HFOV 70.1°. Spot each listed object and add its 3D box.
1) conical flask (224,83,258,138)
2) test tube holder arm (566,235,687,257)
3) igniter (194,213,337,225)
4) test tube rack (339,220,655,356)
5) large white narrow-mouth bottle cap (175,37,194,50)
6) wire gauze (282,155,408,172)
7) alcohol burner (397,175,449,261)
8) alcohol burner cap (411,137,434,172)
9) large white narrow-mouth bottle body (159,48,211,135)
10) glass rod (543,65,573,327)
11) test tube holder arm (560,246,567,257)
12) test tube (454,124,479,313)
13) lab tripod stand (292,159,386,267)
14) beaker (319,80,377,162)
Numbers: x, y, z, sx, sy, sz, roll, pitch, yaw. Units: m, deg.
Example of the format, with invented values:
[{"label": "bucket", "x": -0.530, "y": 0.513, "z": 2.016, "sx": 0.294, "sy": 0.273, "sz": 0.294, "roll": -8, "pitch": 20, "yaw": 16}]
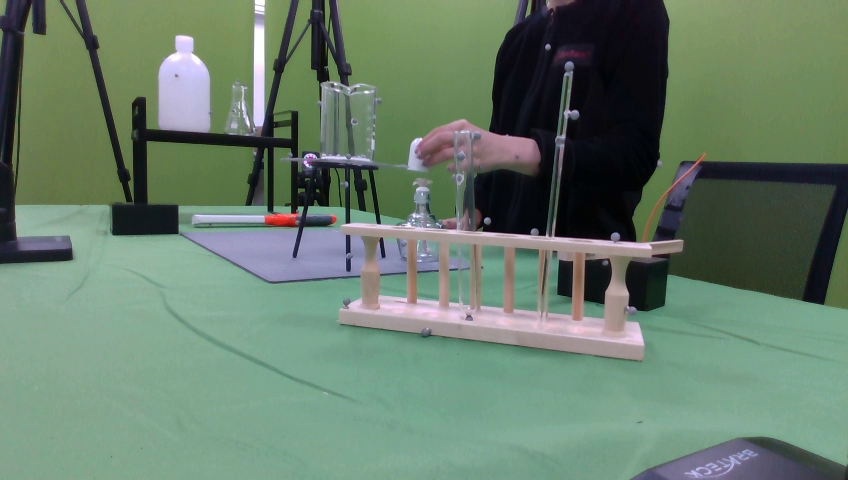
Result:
[{"label": "conical flask", "x": -0.422, "y": -0.299, "z": 1.395, "sx": 0.075, "sy": 0.122, "sz": 0.075, "roll": 2, "pitch": 7, "yaw": 0}, {"label": "test tube holder arm", "x": 0.215, "y": 0.006, "z": 0.630, "sx": 0.179, "sy": 0.015, "sz": 0.013, "roll": -3, "pitch": 8, "yaw": -31}, {"label": "igniter", "x": -0.306, "y": -0.042, "z": 1.196, "sx": 0.278, "sy": 0.025, "sz": 0.057, "roll": -2, "pitch": -2, "yaw": -31}, {"label": "test tube rack", "x": 0.056, "y": 0.032, "z": 0.495, "sx": 0.242, "sy": 0.085, "sz": 0.067, "roll": 4, "pitch": 7, "yaw": 15}, {"label": "large white narrow-mouth bottle cap", "x": -0.501, "y": -0.409, "z": 1.264, "sx": 0.038, "sy": 0.024, "sz": 0.037, "roll": 2, "pitch": 7, "yaw": 0}, {"label": "wire gauze", "x": -0.104, "y": -0.103, "z": 0.785, "sx": 0.126, "sy": 0.011, "sz": 0.121, "roll": 1, "pitch": 8, "yaw": -39}, {"label": "alcohol burner", "x": -0.002, "y": -0.031, "z": 0.846, "sx": 0.078, "sy": 0.119, "sz": 0.078, "roll": 0, "pitch": 6, "yaw": 0}, {"label": "alcohol burner cap", "x": -0.004, "y": -0.120, "z": 0.842, "sx": 0.034, "sy": 0.048, "sz": 0.034, "roll": -3, "pitch": 13, "yaw": 1}, {"label": "large white narrow-mouth bottle body", "x": -0.503, "y": -0.322, "z": 1.275, "sx": 0.102, "sy": 0.194, "sz": 0.102, "roll": 2, "pitch": 7, "yaw": 0}, {"label": "glass rod", "x": 0.101, "y": -0.028, "z": 0.453, "sx": 0.008, "sy": 0.199, "sz": 0.008, "roll": 2, "pitch": 13, "yaw": 0}, {"label": "test tube holder arm", "x": 0.173, "y": 0.007, "z": 0.612, "sx": 0.088, "sy": 0.015, "sz": 0.010, "roll": -3, "pitch": 8, "yaw": -30}, {"label": "test tube", "x": 0.034, "y": -0.015, "z": 0.477, "sx": 0.017, "sy": 0.150, "sz": 0.017, "roll": -2, "pitch": 9, "yaw": 1}, {"label": "lab tripod stand", "x": -0.105, "y": -0.039, "z": 0.797, "sx": 0.148, "sy": 0.131, "sz": 0.148, "roll": 2, "pitch": 5, "yaw": 0}, {"label": "beaker", "x": -0.098, "y": -0.150, "z": 0.777, "sx": 0.074, "sy": 0.100, "sz": 0.084, "roll": 1, "pitch": 7, "yaw": -8}]
